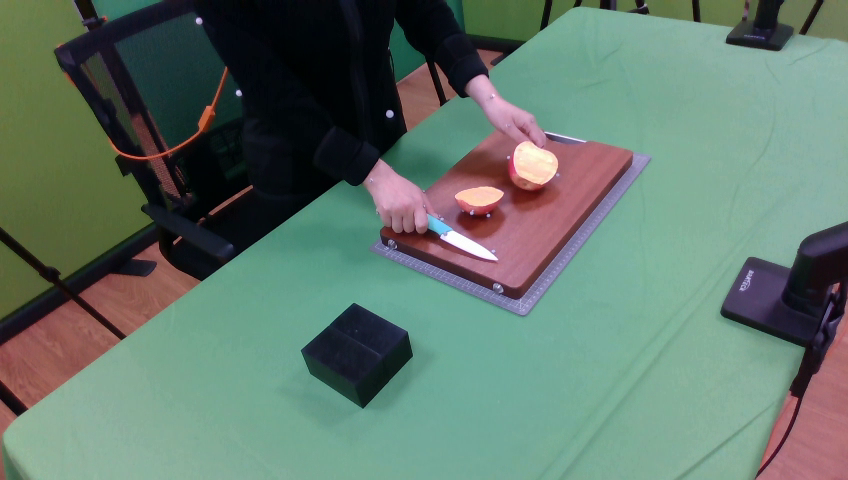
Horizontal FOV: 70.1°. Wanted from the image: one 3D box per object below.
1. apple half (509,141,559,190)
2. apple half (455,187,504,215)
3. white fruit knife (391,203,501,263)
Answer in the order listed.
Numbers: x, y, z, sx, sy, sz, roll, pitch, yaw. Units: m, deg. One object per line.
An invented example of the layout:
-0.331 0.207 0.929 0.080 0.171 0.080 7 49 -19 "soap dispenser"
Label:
0.179 -0.119 1.019 0.081 0.053 0.074 22 63 -6 "apple half"
0.094 -0.060 0.988 0.081 0.033 0.081 -4 24 2 "apple half"
0.034 -0.012 0.945 0.206 0.016 0.027 29 67 28 "white fruit knife"
